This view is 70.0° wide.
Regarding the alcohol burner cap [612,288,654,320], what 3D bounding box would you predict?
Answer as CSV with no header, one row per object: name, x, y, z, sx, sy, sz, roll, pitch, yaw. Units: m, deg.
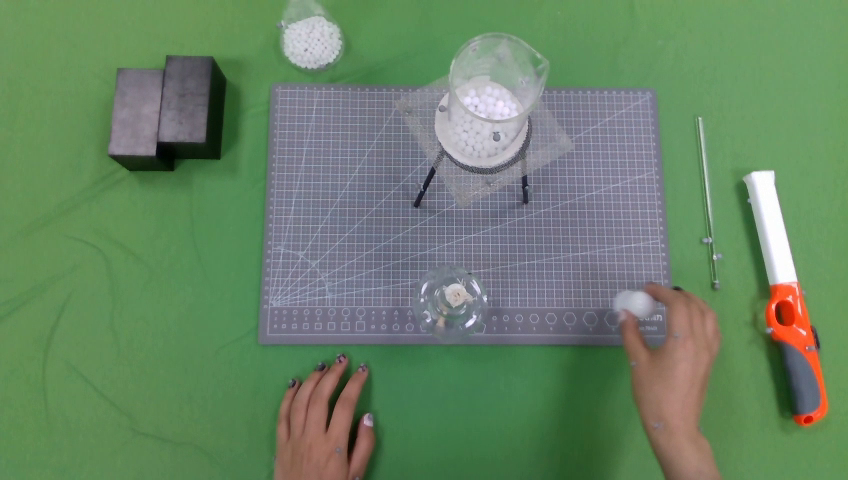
alcohol burner cap,0.217,0.064,0.619,0.034,0.048,0.033,1,82,-4

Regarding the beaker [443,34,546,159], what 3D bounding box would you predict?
beaker,0.055,-0.117,0.515,0.084,0.100,0.073,-20,81,-6

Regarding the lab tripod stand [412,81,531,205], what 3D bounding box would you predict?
lab tripod stand,0.051,-0.090,0.625,0.148,0.132,0.148,0,80,-2

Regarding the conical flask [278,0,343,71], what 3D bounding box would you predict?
conical flask,-0.131,-0.244,0.658,0.075,0.122,0.075,0,78,-2

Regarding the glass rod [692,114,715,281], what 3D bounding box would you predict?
glass rod,0.320,-0.051,0.694,0.008,0.008,0.199,0,78,-2

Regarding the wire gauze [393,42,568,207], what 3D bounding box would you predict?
wire gauze,0.053,-0.108,0.562,0.125,0.011,0.121,-29,84,-8

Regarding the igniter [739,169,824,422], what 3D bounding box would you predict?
igniter,0.392,0.056,0.665,0.057,0.025,0.275,-4,79,-13

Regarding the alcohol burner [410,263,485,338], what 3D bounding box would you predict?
alcohol burner,0.025,0.058,0.605,0.078,0.119,0.077,1,77,-3
